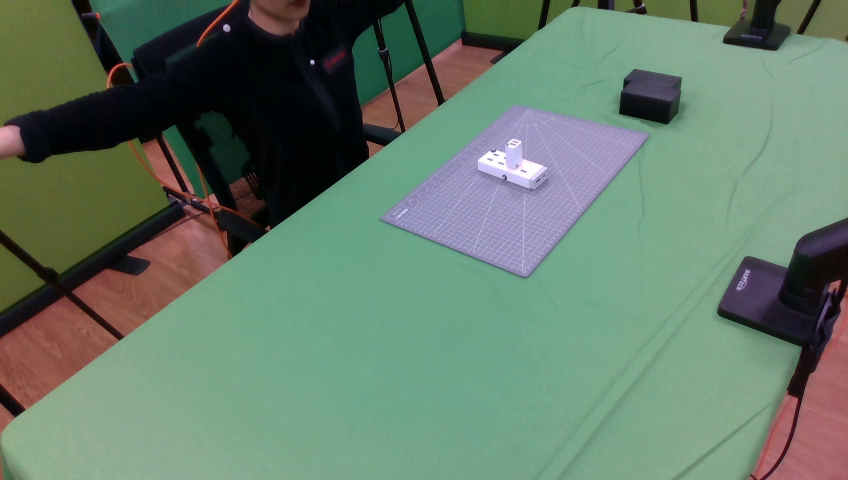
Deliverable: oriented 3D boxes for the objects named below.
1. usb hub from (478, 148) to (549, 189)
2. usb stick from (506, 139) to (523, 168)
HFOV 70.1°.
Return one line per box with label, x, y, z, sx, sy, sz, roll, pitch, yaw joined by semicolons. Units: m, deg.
usb hub;0.161;-0.131;1.099;0.124;0.025;0.049;26;51;34
usb stick;0.160;-0.148;1.074;0.021;0.059;0.027;24;48;33
